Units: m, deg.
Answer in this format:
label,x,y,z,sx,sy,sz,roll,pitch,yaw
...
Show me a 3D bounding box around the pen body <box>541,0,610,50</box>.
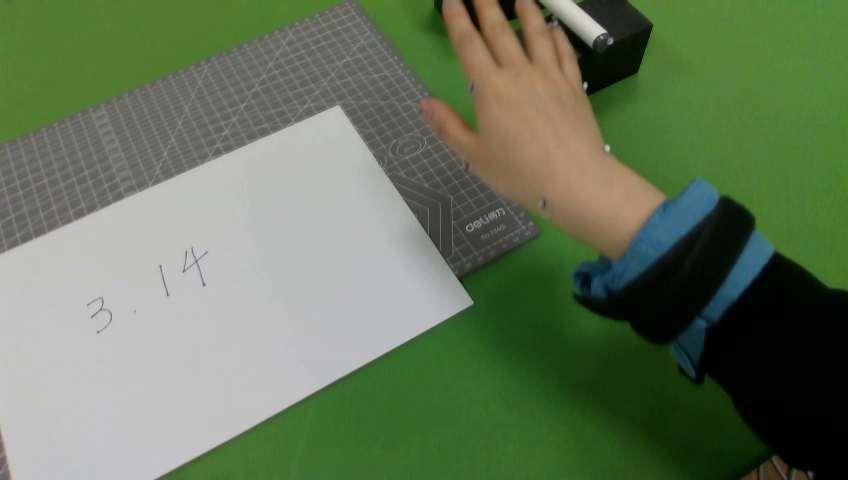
label,x,y,z,sx,sy,sz,roll,pitch,yaw
pen body,0.094,-0.196,0.474,0.017,0.017,0.143,-29,64,-13
